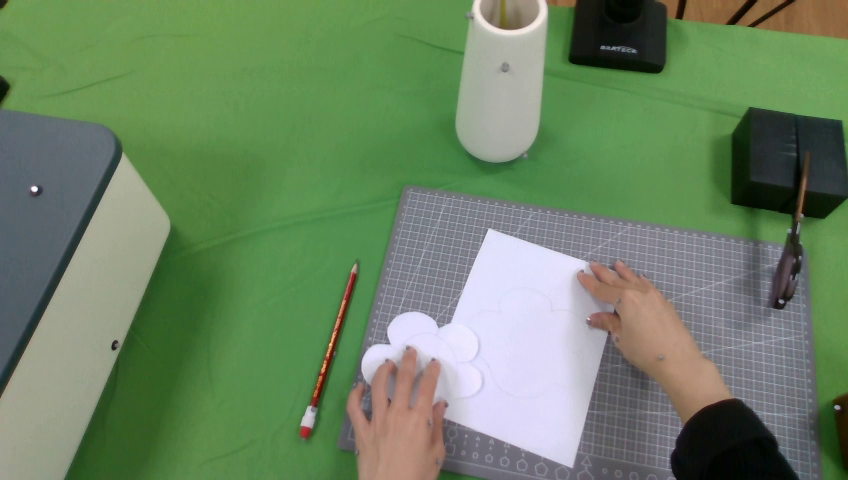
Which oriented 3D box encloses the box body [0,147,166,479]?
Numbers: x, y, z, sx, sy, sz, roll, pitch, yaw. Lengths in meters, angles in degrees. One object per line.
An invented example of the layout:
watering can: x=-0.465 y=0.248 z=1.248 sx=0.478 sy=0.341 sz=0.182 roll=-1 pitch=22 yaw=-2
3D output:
box body: x=-0.436 y=0.067 z=0.567 sx=0.254 sy=0.161 sz=0.361 roll=9 pitch=65 yaw=6

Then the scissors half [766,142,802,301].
scissors half: x=0.379 y=-0.021 z=0.633 sx=0.012 sy=0.040 sz=0.175 roll=12 pitch=83 yaw=23

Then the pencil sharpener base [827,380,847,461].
pencil sharpener base: x=0.416 y=0.159 z=0.530 sx=0.061 sy=0.108 sz=0.076 roll=5 pitch=65 yaw=4

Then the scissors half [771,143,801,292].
scissors half: x=0.373 y=-0.028 z=0.614 sx=0.013 sy=0.040 sz=0.174 roll=13 pitch=66 yaw=18

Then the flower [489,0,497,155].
flower: x=0.068 y=-0.227 z=0.579 sx=0.044 sy=0.365 sz=0.038 roll=2 pitch=47 yaw=7

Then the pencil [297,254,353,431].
pencil: x=-0.099 y=0.099 z=0.628 sx=0.012 sy=0.012 sz=0.192 roll=10 pitch=64 yaw=7

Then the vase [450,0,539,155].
vase: x=0.075 y=-0.178 z=0.648 sx=0.098 sy=0.201 sz=0.097 roll=-1 pitch=63 yaw=3

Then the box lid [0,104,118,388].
box lid: x=-0.439 y=0.033 z=0.500 sx=0.263 sy=0.015 sz=0.369 roll=10 pitch=65 yaw=6
